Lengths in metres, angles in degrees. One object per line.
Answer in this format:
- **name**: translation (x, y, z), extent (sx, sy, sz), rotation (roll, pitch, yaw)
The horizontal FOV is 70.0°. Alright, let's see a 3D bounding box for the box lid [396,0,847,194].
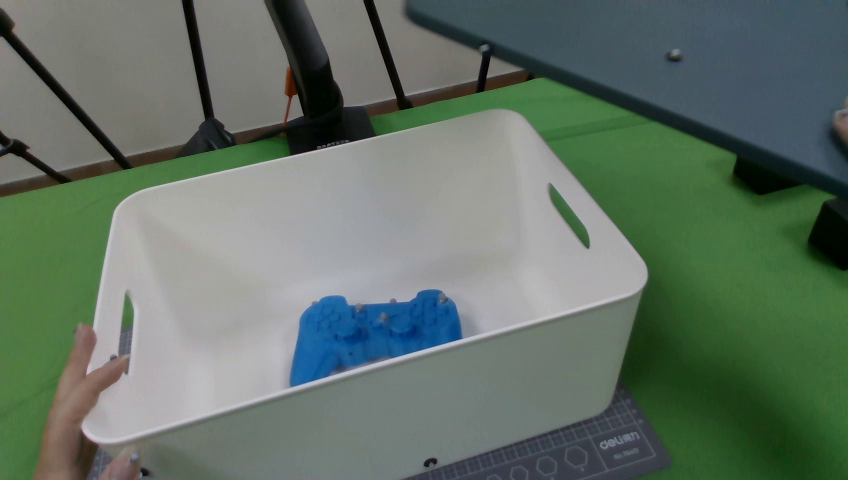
- **box lid**: translation (0.190, -0.165, 0.452), extent (0.369, 0.015, 0.262), rotation (27, 53, 22)

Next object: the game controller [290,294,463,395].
- **game controller**: translation (-0.040, 0.090, 0.541), extent (0.155, 0.052, 0.096), rotation (-3, 37, 4)

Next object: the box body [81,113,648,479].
- **box body**: translation (-0.045, 0.056, 0.501), extent (0.364, 0.162, 0.251), rotation (-15, 42, -8)
